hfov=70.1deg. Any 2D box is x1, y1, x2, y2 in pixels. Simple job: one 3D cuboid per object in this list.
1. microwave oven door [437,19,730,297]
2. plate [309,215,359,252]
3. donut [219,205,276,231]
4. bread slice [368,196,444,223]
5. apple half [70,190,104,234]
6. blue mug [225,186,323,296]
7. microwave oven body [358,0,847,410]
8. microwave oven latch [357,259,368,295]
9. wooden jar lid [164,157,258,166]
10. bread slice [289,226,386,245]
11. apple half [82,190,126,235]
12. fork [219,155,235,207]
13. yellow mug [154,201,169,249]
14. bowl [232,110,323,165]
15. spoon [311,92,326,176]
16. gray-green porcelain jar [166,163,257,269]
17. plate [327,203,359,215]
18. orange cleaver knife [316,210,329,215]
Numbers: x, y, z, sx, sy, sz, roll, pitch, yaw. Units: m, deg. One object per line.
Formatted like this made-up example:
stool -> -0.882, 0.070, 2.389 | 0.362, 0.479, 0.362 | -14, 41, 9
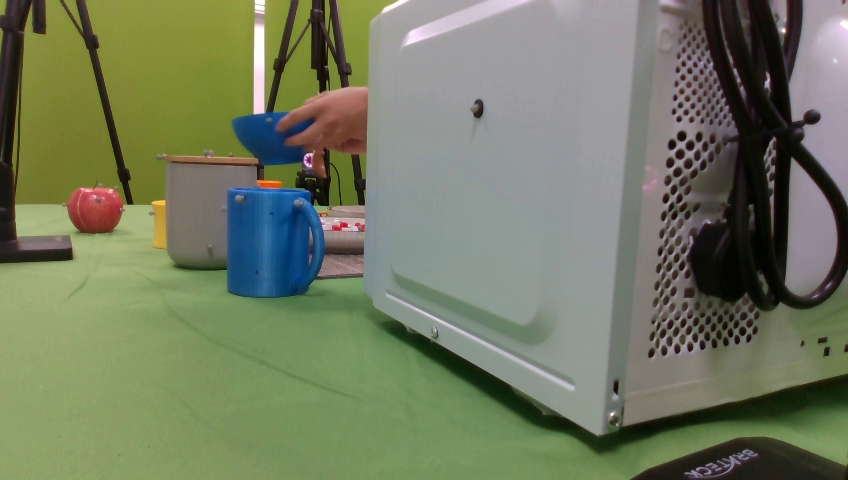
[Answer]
microwave oven door -> 0.181, -0.076, 0.618 | 0.358, 0.243, 0.039 | -2, 9, -28
plate -> -0.130, -0.011, 0.945 | 0.208, 0.039, 0.207 | 2, 7, 0
donut -> -0.316, -0.038, 1.083 | 0.099, 0.048, 0.099 | 3, 6, 0
bread slice -> -0.040, -0.057, 1.141 | 0.107, 0.018, 0.133 | -8, -8, -39
apple half -> -0.552, -0.047, 1.009 | 0.053, 0.074, 0.081 | -1, 9, 26
blue mug -> -0.148, 0.000, 0.618 | 0.116, 0.106, 0.083 | 7, 9, 33
microwave oven body -> 0.210, -0.051, 0.471 | 0.444, 0.260, 0.324 | -1, 7, -28
microwave oven latch -> -0.019, 0.031, 0.529 | 0.079, 0.029, 0.030 | -1, 7, -26
wooden jar lid -> -0.261, -0.093, 0.746 | 0.108, 0.020, 0.108 | 0, 9, 0
bread slice -> -0.125, -0.008, 0.938 | 0.131, 0.019, 0.105 | 4, 8, 32
apple half -> -0.516, -0.046, 0.994 | 0.032, 0.081, 0.081 | 0, 6, 26
fork -> -0.459, -0.134, 1.415 | 0.028, 0.018, 0.207 | -1, -34, -24
yellow mug -> -0.337, -0.022, 0.898 | 0.130, 0.064, 0.100 | 8, 9, 35
bowl -> -0.242, -0.169, 1.024 | 0.151, 0.077, 0.151 | -6, 6, 1
spoon -> -0.200, -0.207, 1.163 | 0.021, 0.193, 0.042 | -15, -27, 26
gray-green porcelain jar -> -0.263, -0.031, 0.754 | 0.106, 0.126, 0.106 | 2, 7, 0
plate -> -0.102, -0.053, 1.299 | 0.209, 0.038, 0.209 | 2, 8, 0
orange cleaver knife -> -0.259, -0.064, 1.423 | 0.212, 0.012, 0.077 | -4, 3, -30
